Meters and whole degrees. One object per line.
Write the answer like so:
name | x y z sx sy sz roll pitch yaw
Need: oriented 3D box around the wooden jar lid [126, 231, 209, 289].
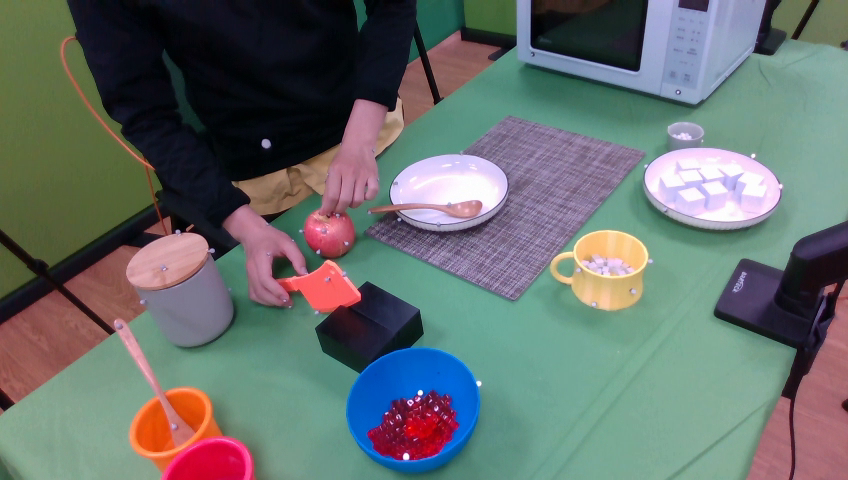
wooden jar lid | -0.340 0.030 0.808 0.108 0.021 0.108 -5 39 5

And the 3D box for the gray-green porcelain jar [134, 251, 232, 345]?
gray-green porcelain jar | -0.334 0.077 0.849 0.106 0.127 0.105 -4 41 4

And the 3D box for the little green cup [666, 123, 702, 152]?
little green cup | 0.472 -0.183 1.102 0.061 0.039 0.061 -5 41 5

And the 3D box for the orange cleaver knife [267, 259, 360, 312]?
orange cleaver knife | -0.161 0.070 0.859 0.210 0.077 0.012 -13 22 49

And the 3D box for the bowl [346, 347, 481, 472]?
bowl | -0.008 0.205 0.691 0.151 0.077 0.150 -4 40 4

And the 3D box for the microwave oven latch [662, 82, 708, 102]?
microwave oven latch | 0.517 -0.298 1.203 0.078 0.029 0.030 28 53 35

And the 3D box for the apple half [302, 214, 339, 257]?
apple half | -0.169 0.001 0.955 0.080 0.081 0.033 26 51 33

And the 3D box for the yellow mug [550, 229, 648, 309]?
yellow mug | 0.245 0.040 0.857 0.130 0.064 0.099 1 42 11

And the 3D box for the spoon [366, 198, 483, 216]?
spoon | 0.001 -0.056 0.997 0.194 0.022 0.041 1 50 -10

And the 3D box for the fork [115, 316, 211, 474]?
fork | -0.308 0.179 0.708 0.028 0.018 0.207 -30 89 -22

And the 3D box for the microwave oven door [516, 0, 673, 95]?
microwave oven door | 0.344 -0.458 1.256 0.353 0.245 0.039 26 51 33

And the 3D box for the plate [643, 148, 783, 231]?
plate | 0.464 -0.079 0.986 0.207 0.039 0.206 -4 41 4

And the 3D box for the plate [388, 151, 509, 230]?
plate | 0.044 -0.082 1.042 0.209 0.038 0.208 -4 40 4

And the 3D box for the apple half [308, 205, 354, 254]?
apple half | -0.143 -0.022 0.976 0.080 0.075 0.053 25 53 36

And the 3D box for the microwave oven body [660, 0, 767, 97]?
microwave oven body | 0.473 -0.517 1.314 0.438 0.261 0.327 26 51 34
